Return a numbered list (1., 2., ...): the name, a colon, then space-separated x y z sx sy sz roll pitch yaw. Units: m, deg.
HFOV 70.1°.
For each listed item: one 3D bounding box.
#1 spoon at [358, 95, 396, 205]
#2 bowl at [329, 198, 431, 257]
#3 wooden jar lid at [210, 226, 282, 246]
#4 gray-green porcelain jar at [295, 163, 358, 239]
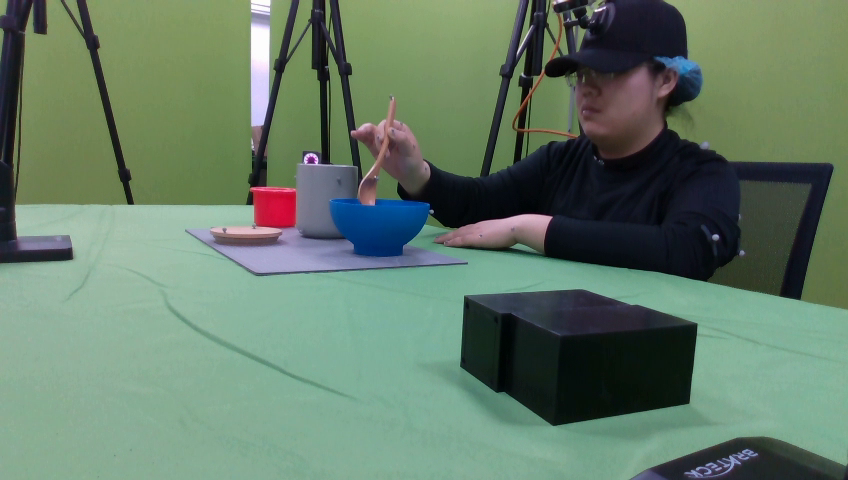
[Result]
1. spoon: -0.067 -0.136 0.931 0.021 0.193 0.042 6 -16 37
2. bowl: -0.067 -0.019 0.894 0.151 0.077 0.151 3 7 0
3. wooden jar lid: -0.279 -0.007 0.951 0.108 0.020 0.108 2 8 0
4. gray-green porcelain jar: -0.170 -0.069 1.054 0.106 0.126 0.106 3 8 0
